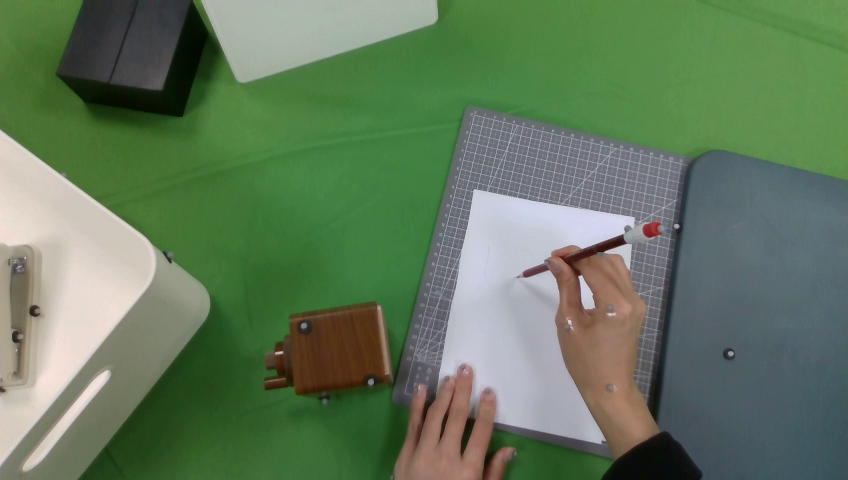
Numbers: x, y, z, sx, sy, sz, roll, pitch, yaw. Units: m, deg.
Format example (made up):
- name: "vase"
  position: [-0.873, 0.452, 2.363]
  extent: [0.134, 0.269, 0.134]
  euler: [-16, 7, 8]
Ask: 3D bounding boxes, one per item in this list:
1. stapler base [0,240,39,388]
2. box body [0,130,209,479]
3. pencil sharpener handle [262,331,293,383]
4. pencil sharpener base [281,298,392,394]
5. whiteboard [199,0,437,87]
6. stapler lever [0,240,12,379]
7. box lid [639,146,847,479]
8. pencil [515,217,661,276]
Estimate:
- name: "stapler base"
  position: [-0.364, 0.062, 0.527]
  extent: [0.041, 0.024, 0.130]
  euler: [-7, 77, -2]
- name: "box body"
  position: [-0.388, 0.029, 0.469]
  extent: [0.363, 0.161, 0.253]
  euler: [34, 77, 7]
- name: "pencil sharpener handle"
  position: [-0.118, 0.098, 0.477]
  extent: [0.031, 0.068, 0.035]
  euler: [-8, 59, -3]
- name: "pencil sharpener base"
  position: [-0.069, 0.090, 0.494]
  extent: [0.077, 0.107, 0.061]
  euler: [-8, 75, -4]
- name: "whiteboard"
  position: [-0.124, -0.328, 0.533]
  extent: [0.217, 0.308, 0.142]
  euler: [-19, 57, -6]
- name: "stapler lever"
  position: [-0.363, 0.057, 0.502]
  extent: [0.027, 0.040, 0.117]
  euler: [-7, 78, -2]
- name: "box lid"
  position: [0.347, 0.101, 0.557]
  extent: [0.263, 0.015, 0.369]
  euler: [13, 75, 0]
- name: "pencil"
  position: [0.117, 0.011, 0.476]
  extent: [0.012, 0.194, 0.012]
  euler: [5, 75, -18]
